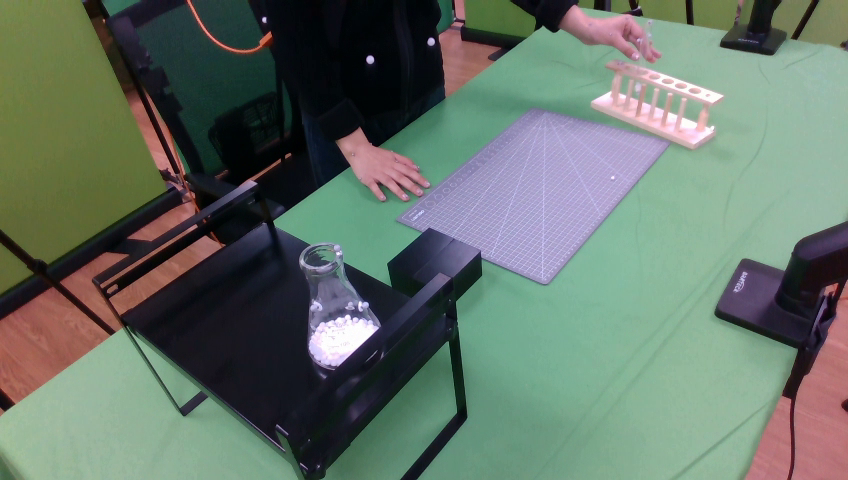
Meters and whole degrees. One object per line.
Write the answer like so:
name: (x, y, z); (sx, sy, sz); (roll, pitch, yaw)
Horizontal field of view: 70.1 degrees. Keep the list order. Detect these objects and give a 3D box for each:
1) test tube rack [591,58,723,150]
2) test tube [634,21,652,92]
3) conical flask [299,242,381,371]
test tube rack: (0.442, -0.268, 1.171); (0.067, 0.085, 0.240); (-31, 46, -23)
test tube: (0.417, -0.346, 1.153); (0.017, 0.151, 0.017); (-5, 49, 6)
conical flask: (-0.085, 0.059, 0.565); (0.075, 0.122, 0.075); (-4, 41, 4)
